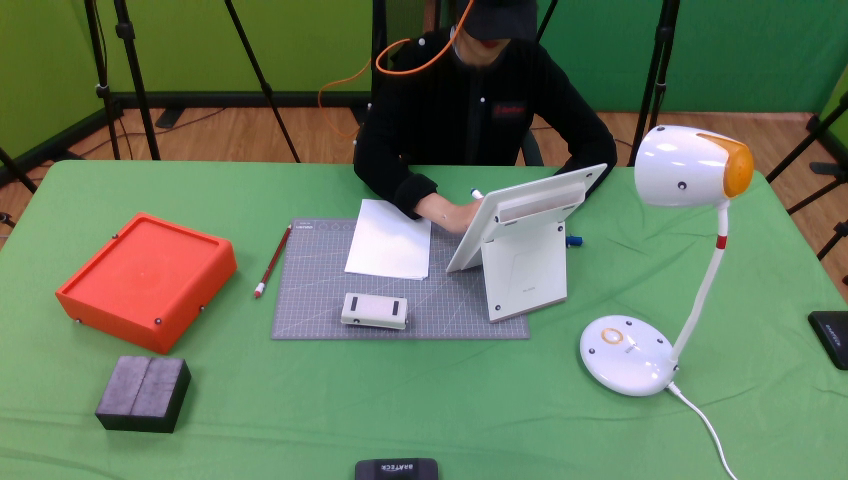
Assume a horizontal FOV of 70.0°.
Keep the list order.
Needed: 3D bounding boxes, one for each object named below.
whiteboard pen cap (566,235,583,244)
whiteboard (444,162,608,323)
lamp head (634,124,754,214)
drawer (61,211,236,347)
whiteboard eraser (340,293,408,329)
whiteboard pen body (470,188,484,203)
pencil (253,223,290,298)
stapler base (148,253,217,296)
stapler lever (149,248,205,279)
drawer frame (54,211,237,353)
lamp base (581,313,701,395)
[{"bbox_3d":[0.303,0.000,1.221,0.033,0.018,0.018,3,46,-2],"label":"whiteboard pen cap"},{"bbox_3d":[0.186,0.026,1.028,0.217,0.306,0.143,-14,68,-17],"label":"whiteboard"},{"bbox_3d":[0.351,-0.089,0.776,0.112,0.113,0.122,-30,30,-28],"label":"lamp head"},{"bbox_3d":[-0.473,0.064,1.059,0.194,0.073,0.211,18,48,11],"label":"drawer"},{"bbox_3d":[-0.087,0.125,1.052,0.113,0.042,0.055,5,45,1],"label":"whiteboard eraser"},{"bbox_3d":[0.138,-0.052,1.161,0.017,0.017,0.140,-29,62,-28],"label":"whiteboard pen body"},{"bbox_3d":[-0.286,0.033,1.150,0.012,0.012,0.193,9,46,4],"label":"pencil"},{"bbox_3d":[-0.443,0.058,1.109,0.130,0.024,0.041,24,51,11],"label":"stapler base"},{"bbox_3d":[-0.443,0.037,1.083,0.118,0.040,0.027,19,50,17],"label":"stapler lever"},{"bbox_3d":[-0.473,0.067,1.055,0.201,0.083,0.212,17,48,11],"label":"drawer frame"},{"bbox_3d":[0.361,0.144,0.972,0.178,0.181,0.160,34,53,23],"label":"lamp base"}]
